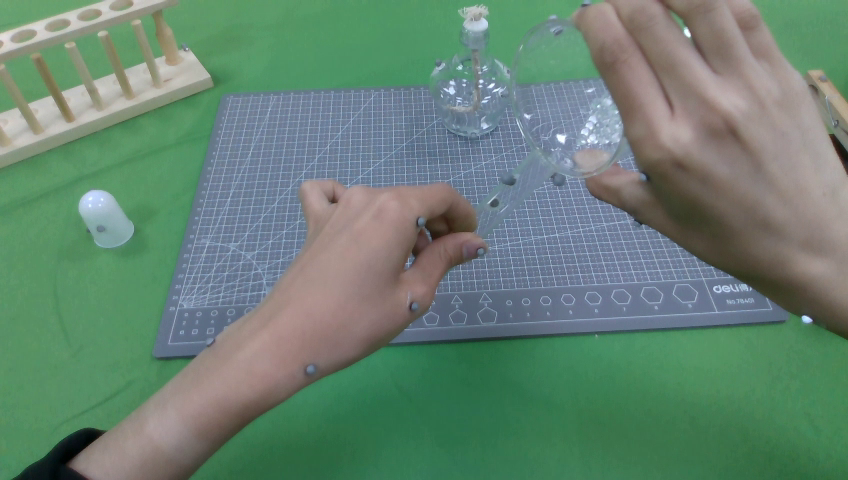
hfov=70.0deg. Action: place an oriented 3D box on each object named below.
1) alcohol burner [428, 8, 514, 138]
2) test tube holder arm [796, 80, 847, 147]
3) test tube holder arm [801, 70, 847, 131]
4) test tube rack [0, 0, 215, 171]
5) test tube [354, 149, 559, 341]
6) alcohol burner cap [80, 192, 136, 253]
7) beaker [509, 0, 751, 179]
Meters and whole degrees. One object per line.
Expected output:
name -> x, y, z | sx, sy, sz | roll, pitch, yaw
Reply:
alcohol burner -> 0.043, -0.150, 0.535 | 0.078, 0.120, 0.077 | 0, 51, 0
test tube holder arm -> 0.334, -0.071, 0.461 | 0.015, 0.013, 0.176 | 1, 48, -6
test tube holder arm -> 0.332, -0.108, 0.487 | 0.015, 0.010, 0.087 | 1, 49, -6
test tube rack -> -0.334, -0.149, 0.568 | 0.242, 0.086, 0.066 | -28, 55, -20
test tube -> 0.012, 0.007, 0.327 | 0.150, 0.017, 0.017 | -44, 49, 21
alcohol burner cap -> -0.256, -0.017, 0.485 | 0.034, 0.048, 0.033 | 0, 50, 1
beaker -> 0.104, -0.081, 0.303 | 0.100, 0.084, 0.073 | -26, 62, -24
